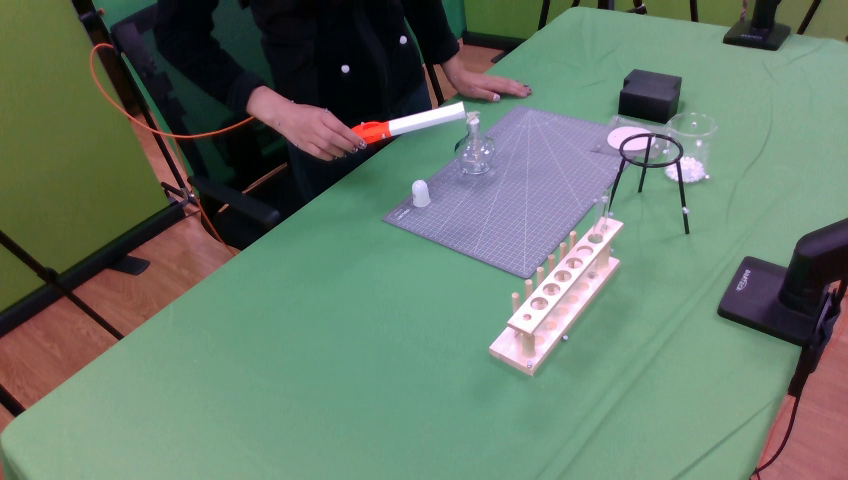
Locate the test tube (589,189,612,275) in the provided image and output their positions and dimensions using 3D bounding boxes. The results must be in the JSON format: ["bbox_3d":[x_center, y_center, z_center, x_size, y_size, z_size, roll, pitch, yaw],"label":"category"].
[{"bbox_3d":[0.238,-0.007,0.818,0.017,0.151,0.017,-3,43,4],"label":"test tube"}]

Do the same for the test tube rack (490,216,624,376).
[{"bbox_3d":[0.184,0.064,0.822,0.066,0.085,0.243,24,50,33],"label":"test tube rack"}]

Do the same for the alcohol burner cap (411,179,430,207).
[{"bbox_3d":[-0.009,-0.085,1.063,0.034,0.048,0.033,-4,40,4],"label":"alcohol burner cap"}]

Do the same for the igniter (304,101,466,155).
[{"bbox_3d":[-0.068,-0.185,1.004,0.276,0.025,0.057,-13,43,6],"label":"igniter"}]

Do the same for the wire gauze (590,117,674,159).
[{"bbox_3d":[0.393,-0.192,1.139,0.120,0.011,0.125,19,47,28],"label":"wire gauze"}]

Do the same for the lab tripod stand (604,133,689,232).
[{"bbox_3d":[0.347,-0.086,0.932,0.148,0.132,0.147,-4,40,4],"label":"lab tripod stand"}]

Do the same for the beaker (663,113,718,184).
[{"bbox_3d":[0.442,-0.151,1.018,0.084,0.101,0.074,-1,40,11],"label":"beaker"}]

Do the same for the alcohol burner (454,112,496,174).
[{"bbox_3d":[0.092,-0.181,1.102,0.078,0.119,0.077,-5,42,5],"label":"alcohol burner"}]
